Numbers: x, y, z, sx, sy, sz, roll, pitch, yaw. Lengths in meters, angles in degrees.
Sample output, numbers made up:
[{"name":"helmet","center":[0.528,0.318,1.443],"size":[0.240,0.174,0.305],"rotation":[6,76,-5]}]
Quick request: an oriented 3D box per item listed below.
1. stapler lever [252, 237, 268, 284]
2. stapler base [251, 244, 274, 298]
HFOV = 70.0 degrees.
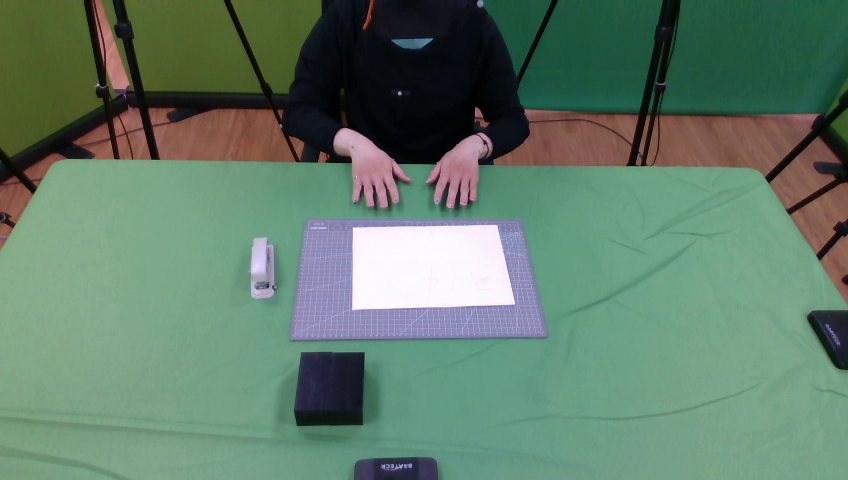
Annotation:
[{"name":"stapler lever","center":[-0.299,0.031,1.107],"size":[0.027,0.040,0.117],"rotation":[-4,45,-11]},{"name":"stapler base","center":[-0.300,0.050,1.124],"size":[0.041,0.024,0.129],"rotation":[-4,45,-11]}]
